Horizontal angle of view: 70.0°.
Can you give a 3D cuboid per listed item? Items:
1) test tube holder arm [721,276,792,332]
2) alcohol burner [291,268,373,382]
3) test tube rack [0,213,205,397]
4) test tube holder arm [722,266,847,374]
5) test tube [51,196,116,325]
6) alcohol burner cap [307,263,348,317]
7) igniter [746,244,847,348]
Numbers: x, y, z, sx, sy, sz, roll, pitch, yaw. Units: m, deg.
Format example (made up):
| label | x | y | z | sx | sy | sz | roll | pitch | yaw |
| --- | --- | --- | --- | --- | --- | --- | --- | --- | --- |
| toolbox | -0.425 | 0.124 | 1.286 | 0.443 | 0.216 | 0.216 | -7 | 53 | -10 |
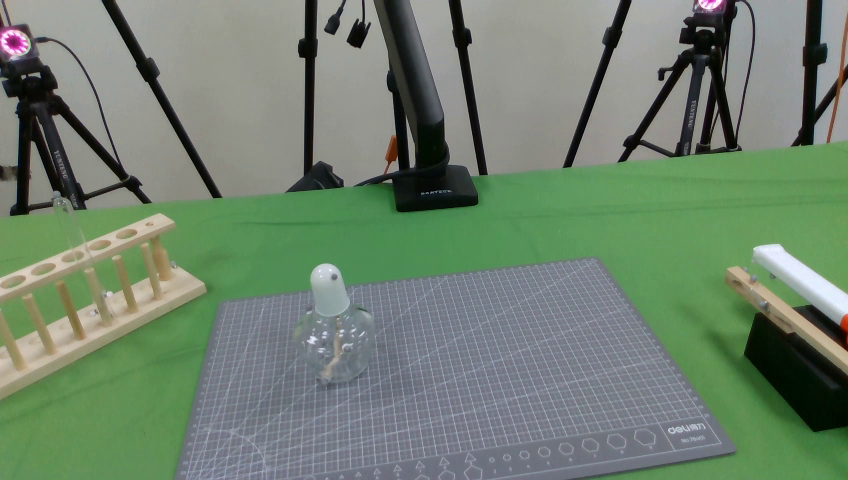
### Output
| label | x | y | z | sx | sy | sz | roll | pitch | yaw |
| --- | --- | --- | --- | --- | --- | --- | --- | --- | --- |
| test tube holder arm | 0.313 | 0.057 | 0.569 | 0.015 | 0.010 | 0.087 | -15 | 30 | -8 |
| alcohol burner | -0.087 | 0.073 | 0.562 | 0.078 | 0.120 | 0.077 | 0 | 33 | 1 |
| test tube rack | -0.362 | 0.063 | 0.630 | 0.066 | 0.086 | 0.242 | 24 | 40 | 35 |
| test tube holder arm | 0.324 | 0.073 | 0.528 | 0.015 | 0.013 | 0.176 | -16 | 31 | -8 |
| test tube | -0.339 | 0.024 | 0.606 | 0.017 | 0.151 | 0.017 | -2 | 32 | 1 |
| alcohol burner cap | -0.088 | 0.042 | 0.543 | 0.034 | 0.048 | 0.033 | -3 | 36 | 3 |
| igniter | 0.377 | 0.075 | 0.523 | 0.057 | 0.025 | 0.274 | -7 | 29 | -7 |
